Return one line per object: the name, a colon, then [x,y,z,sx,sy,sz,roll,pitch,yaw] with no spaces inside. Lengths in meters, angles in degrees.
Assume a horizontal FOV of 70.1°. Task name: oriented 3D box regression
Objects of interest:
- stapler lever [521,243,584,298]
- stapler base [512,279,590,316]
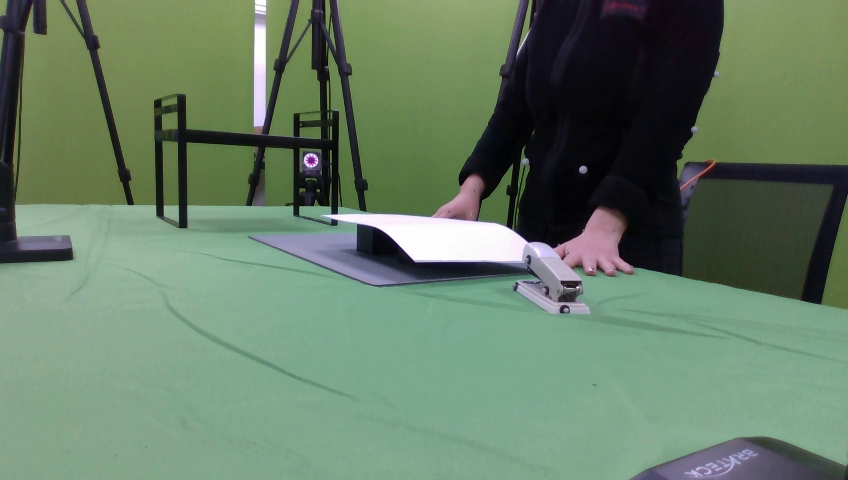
stapler lever: [0.132,0.030,0.634,0.027,0.040,0.118,0,8,-10]
stapler base: [0.130,0.053,0.639,0.041,0.024,0.130,0,9,-10]
